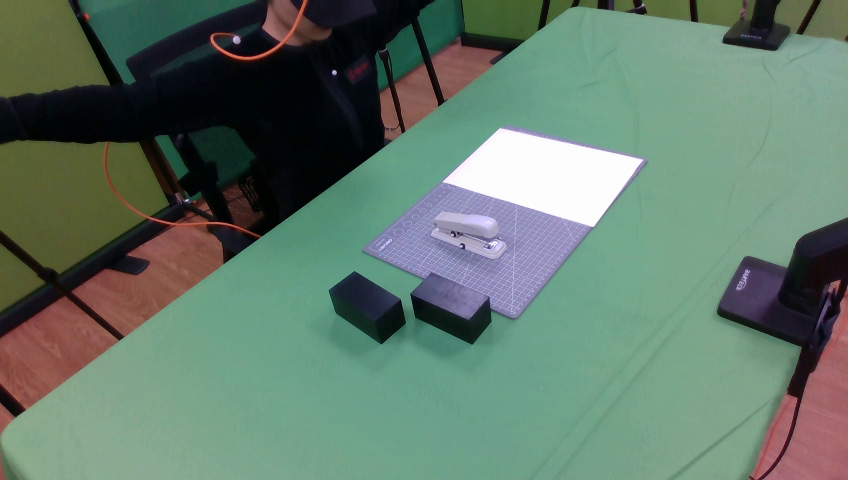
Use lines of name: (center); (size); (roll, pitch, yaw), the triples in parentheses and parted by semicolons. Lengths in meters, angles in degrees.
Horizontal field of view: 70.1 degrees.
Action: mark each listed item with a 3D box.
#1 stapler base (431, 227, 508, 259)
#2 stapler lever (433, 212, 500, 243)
stapler base: (0.072, -0.007, 0.972); (0.129, 0.024, 0.041); (20, 45, 32)
stapler lever: (0.067, -0.026, 0.957); (0.117, 0.040, 0.027); (20, 46, 32)
